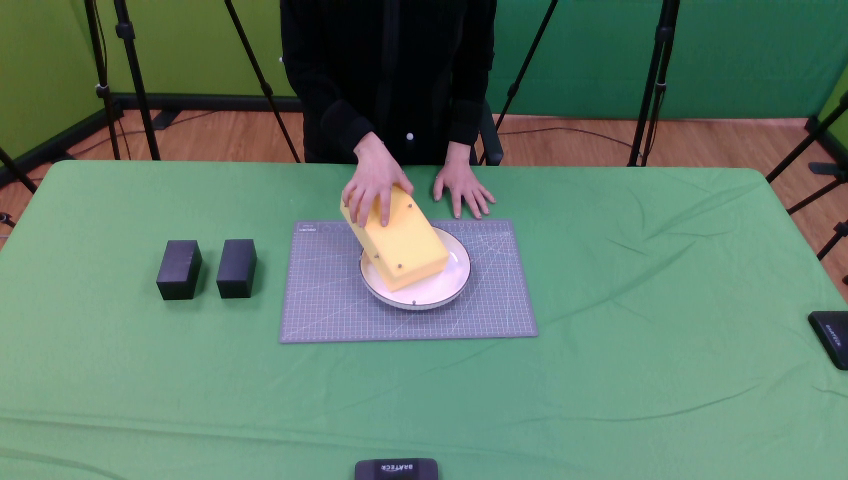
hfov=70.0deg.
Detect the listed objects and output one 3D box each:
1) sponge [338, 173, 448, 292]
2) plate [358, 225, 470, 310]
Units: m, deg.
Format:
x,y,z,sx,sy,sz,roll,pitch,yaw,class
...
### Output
x,y,z,sx,sy,sz,roll,pitch,yaw,class
-0.061,-0.018,1.136,0.118,0.061,0.206,-23,65,-25,sponge
-0.019,0.052,1.132,0.209,0.038,0.208,2,46,-2,plate
